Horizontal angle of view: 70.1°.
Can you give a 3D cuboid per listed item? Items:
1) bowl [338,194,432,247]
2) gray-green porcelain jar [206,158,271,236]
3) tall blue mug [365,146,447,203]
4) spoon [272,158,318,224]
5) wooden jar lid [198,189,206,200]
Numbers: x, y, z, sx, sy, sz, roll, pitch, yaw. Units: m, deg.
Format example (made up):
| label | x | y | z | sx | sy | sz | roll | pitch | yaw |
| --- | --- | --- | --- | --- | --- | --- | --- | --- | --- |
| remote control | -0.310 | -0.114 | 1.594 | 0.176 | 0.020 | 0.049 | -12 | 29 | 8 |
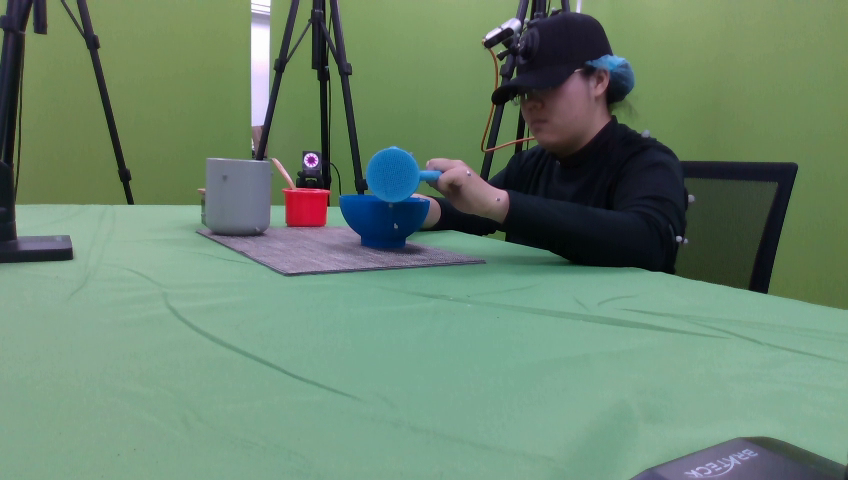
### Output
| label | x | y | z | sx | sy | sz | roll | pitch | yaw |
| --- | --- | --- | --- | --- | --- | --- | --- | --- | --- |
| bowl | -0.066 | -0.031 | 0.984 | 0.151 | 0.077 | 0.151 | 3 | 8 | 0 |
| gray-green porcelain jar | -0.316 | -0.074 | 1.032 | 0.106 | 0.126 | 0.106 | 3 | 7 | 0 |
| tall blue mug | -0.029 | -0.088 | 0.887 | 0.107 | 0.077 | 0.108 | 26 | 5 | -3 |
| spoon | -0.268 | -0.103 | 1.236 | 0.042 | 0.193 | 0.021 | -10 | -32 | -40 |
| wooden jar lid | -0.382 | -0.088 | 1.175 | 0.108 | 0.020 | 0.108 | 3 | 8 | 0 |
